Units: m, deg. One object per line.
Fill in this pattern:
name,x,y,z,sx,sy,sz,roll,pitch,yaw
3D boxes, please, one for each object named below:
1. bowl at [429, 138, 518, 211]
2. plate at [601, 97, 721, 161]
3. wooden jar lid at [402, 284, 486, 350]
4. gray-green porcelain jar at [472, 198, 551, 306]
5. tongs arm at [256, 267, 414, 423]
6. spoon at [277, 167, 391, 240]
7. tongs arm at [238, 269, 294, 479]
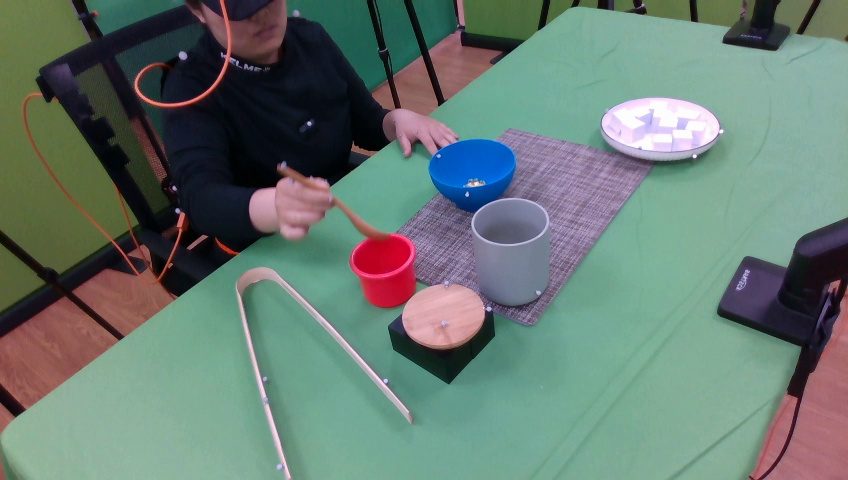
bowl,0.087,-0.104,1.043,0.151,0.077,0.150,-5,40,5
plate,0.436,-0.203,1.126,0.209,0.038,0.208,-5,39,5
wooden jar lid,0.026,0.101,0.786,0.108,0.021,0.108,-5,39,4
gray-green porcelain jar,0.125,0.021,0.850,0.106,0.127,0.105,-6,40,5
tongs arm,-0.137,0.132,0.853,0.028,0.028,0.384,-34,45,-23
spoon,-0.120,-0.047,0.825,0.041,0.195,0.021,1,59,52
tongs arm,-0.208,0.163,0.824,0.051,0.026,0.381,-22,40,-15
